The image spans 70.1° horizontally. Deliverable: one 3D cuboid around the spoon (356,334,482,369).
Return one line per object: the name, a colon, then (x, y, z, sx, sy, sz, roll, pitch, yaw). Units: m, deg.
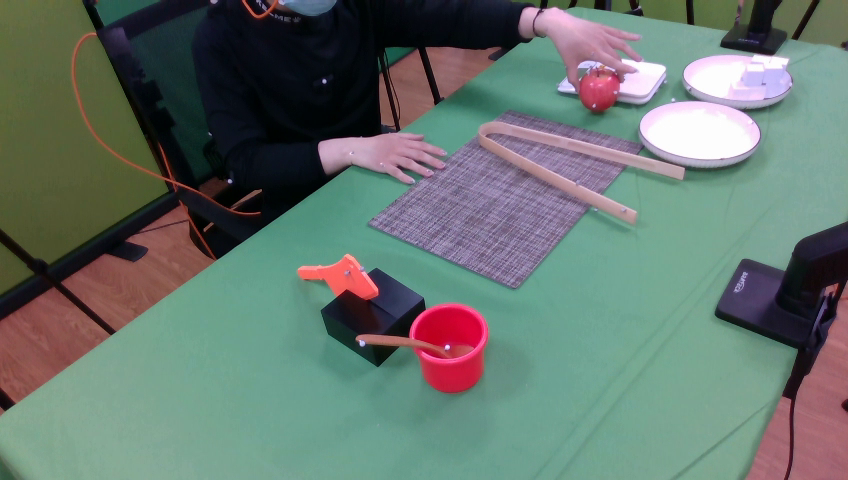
spoon: (-0.001, 0.130, 0.731, 0.195, 0.021, 0.041, 21, 28, -39)

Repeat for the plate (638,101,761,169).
plate: (0.500, -0.190, 1.111, 0.209, 0.038, 0.208, -4, 41, 4)

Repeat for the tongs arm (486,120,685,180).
tongs arm: (0.287, -0.171, 1.123, 0.384, 0.028, 0.028, 21, 52, 29)

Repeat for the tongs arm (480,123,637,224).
tongs arm: (0.228, -0.128, 1.080, 0.051, 0.026, 0.381, -33, 46, -26)

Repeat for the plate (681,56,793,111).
plate: (0.636, -0.317, 1.239, 0.207, 0.039, 0.206, -4, 40, 4)

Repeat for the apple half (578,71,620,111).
apple half: (0.343, -0.293, 1.204, 0.080, 0.075, 0.053, 18, 50, 24)

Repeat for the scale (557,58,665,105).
scale: (0.407, -0.348, 1.314, 0.199, 0.032, 0.149, 19, 47, 28)

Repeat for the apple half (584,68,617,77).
apple half: (0.360, -0.318, 1.228, 0.081, 0.081, 0.033, 16, 47, 25)

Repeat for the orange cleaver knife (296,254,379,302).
orange cleaver knife: (-0.128, 0.059, 0.874, 0.012, 0.077, 0.210, -39, 16, -30)
